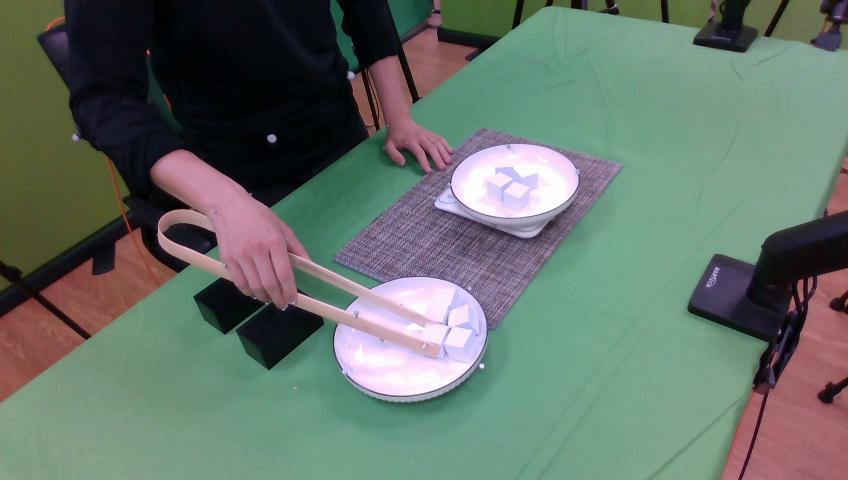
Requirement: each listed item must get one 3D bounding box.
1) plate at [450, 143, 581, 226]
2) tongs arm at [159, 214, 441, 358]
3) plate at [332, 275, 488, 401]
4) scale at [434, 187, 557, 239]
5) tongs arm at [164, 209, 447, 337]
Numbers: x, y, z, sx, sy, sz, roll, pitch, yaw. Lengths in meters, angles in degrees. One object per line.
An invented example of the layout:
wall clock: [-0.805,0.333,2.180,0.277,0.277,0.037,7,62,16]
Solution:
plate: [0.148,-0.087,0.986,0.209,0.038,0.208,-4,41,4]
tongs arm: [-0.156,0.060,0.769,0.386,0.026,0.050,21,49,-6]
plate: [-0.017,0.131,0.808,0.207,0.039,0.206,-4,41,4]
scale: [0.132,-0.074,1.025,0.199,0.032,0.149,22,48,30]
tongs arm: [-0.150,0.044,0.785,0.388,0.028,0.028,24,52,-3]
